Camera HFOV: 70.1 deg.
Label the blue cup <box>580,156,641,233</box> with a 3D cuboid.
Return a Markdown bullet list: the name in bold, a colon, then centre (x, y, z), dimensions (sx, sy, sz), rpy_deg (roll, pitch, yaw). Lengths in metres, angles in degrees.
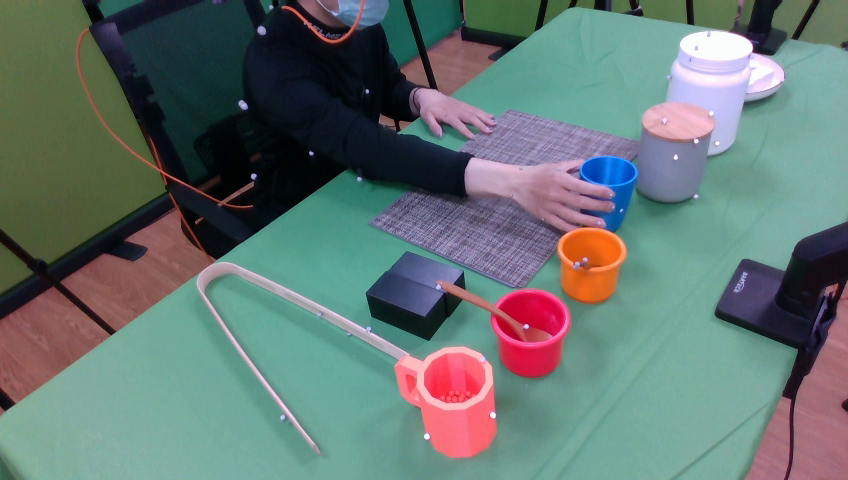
- **blue cup**: centre (0.283, -0.067, 0.945), dimensions (0.092, 0.100, 0.092), rpy_deg (-3, 39, 3)

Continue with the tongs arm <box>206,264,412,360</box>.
- **tongs arm**: centre (-0.179, 0.107, 0.870), dimensions (0.381, 0.026, 0.051), rpy_deg (23, 53, 32)

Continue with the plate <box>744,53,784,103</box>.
- **plate**: centre (0.631, -0.336, 1.262), dimensions (0.207, 0.039, 0.206), rpy_deg (-4, 41, 4)

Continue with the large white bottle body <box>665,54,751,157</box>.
- **large white bottle body**: centre (0.500, -0.257, 1.076), dimensions (0.130, 0.185, 0.130), rpy_deg (-4, 41, 4)

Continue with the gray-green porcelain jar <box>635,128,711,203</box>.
- **gray-green porcelain jar**: centre (0.405, -0.133, 0.992), dimensions (0.106, 0.127, 0.105), rpy_deg (-4, 40, 4)

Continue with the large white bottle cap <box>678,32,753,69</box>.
- **large white bottle cap**: centre (0.491, -0.321, 1.021), dimensions (0.115, 0.018, 0.114), rpy_deg (-4, 41, 4)

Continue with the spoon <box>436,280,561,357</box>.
- **spoon**: centre (0.096, 0.095, 0.757), dimensions (0.195, 0.021, 0.041), rpy_deg (34, 40, -20)

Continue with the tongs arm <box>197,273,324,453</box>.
- **tongs arm**: centre (-0.236, 0.154, 0.830), dimensions (0.028, 0.028, 0.384), rpy_deg (-36, 47, -19)

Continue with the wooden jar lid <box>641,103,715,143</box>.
- **wooden jar lid**: centre (0.398, -0.180, 0.952), dimensions (0.108, 0.021, 0.108), rpy_deg (-4, 43, 4)

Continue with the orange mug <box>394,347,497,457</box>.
- **orange mug**: centre (0.024, 0.181, 0.703), dimensions (0.125, 0.101, 0.083), rpy_deg (20, 48, 23)

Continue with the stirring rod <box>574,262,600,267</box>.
- **stirring rod**: centre (0.222, 0.033, 0.816), dimensions (0.014, 0.006, 0.177), rpy_deg (8, 1, 22)
